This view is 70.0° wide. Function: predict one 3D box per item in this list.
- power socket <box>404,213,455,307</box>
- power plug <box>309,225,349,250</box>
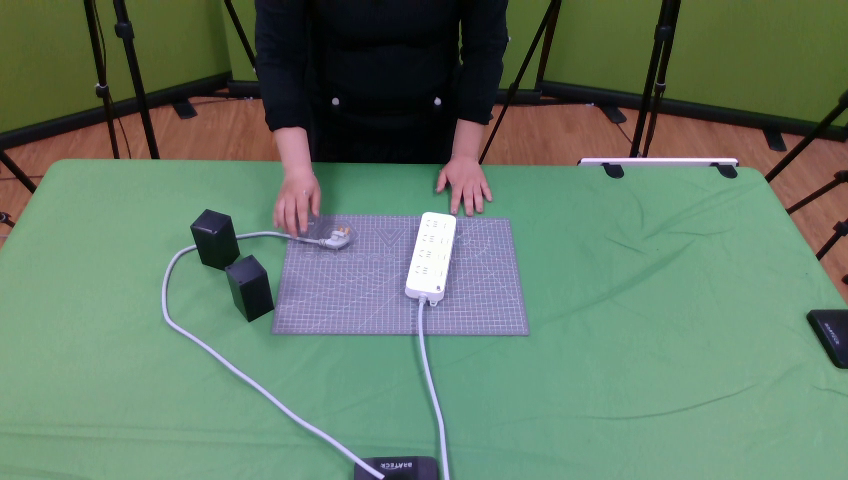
[{"bbox_3d":[0.013,0.029,1.159,0.072,0.033,0.225,8,46,5],"label":"power socket"},{"bbox_3d":[-0.182,-0.010,1.175,0.072,0.035,0.052,20,65,-1],"label":"power plug"}]
